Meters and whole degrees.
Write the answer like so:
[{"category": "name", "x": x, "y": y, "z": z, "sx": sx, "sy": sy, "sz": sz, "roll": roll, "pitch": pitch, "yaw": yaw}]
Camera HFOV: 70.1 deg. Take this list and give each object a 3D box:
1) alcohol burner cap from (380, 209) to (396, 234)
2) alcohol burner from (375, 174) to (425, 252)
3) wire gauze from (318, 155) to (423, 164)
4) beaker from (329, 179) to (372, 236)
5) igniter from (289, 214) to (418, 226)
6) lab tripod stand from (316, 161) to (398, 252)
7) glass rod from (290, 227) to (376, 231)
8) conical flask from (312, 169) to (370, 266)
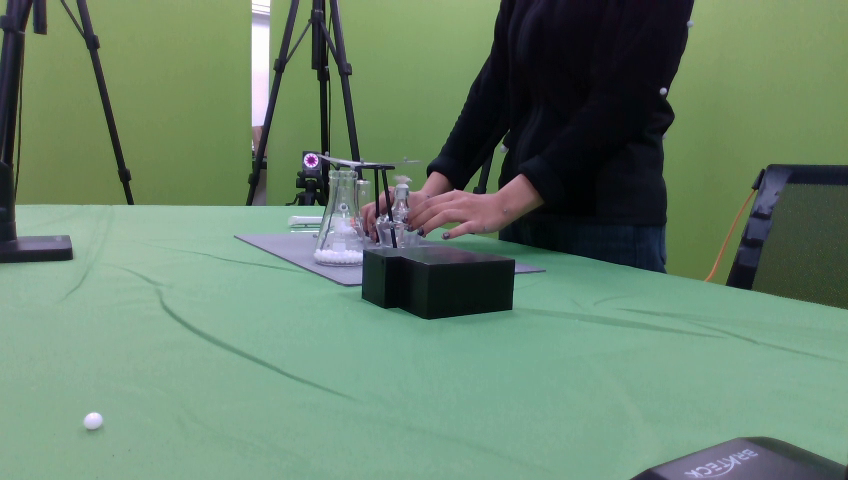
[{"category": "alcohol burner cap", "x": -0.069, "y": -0.036, "z": 1.154, "sx": 0.034, "sy": 0.048, "sz": 0.034, "roll": 2, "pitch": 7, "yaw": 0}, {"category": "alcohol burner", "x": -0.036, "y": -0.042, "z": 0.934, "sx": 0.078, "sy": 0.119, "sz": 0.078, "roll": 1, "pitch": 10, "yaw": 0}, {"category": "wire gauze", "x": -0.083, "y": -0.120, "z": 0.918, "sx": 0.122, "sy": 0.011, "sz": 0.124, "roll": -3, "pitch": 9, "yaw": -36}, {"category": "beaker", "x": -0.137, "y": -0.061, "z": 1.101, "sx": 0.084, "sy": 0.100, "sz": 0.074, "roll": 4, "pitch": 7, "yaw": 20}, {"category": "igniter", "x": -0.141, "y": -0.042, "z": 1.258, "sx": 0.278, "sy": 0.025, "sz": 0.057, "roll": -1, "pitch": -2, "yaw": -30}, {"category": "lab tripod stand", "x": -0.087, "y": -0.053, "z": 0.924, "sx": 0.148, "sy": 0.131, "sz": 0.148, "roll": 4, "pitch": 7, "yaw": 0}, {"category": "glass rod", "x": -0.161, "y": -0.022, "z": 1.177, "sx": 0.201, "sy": 0.008, "sz": 0.008, "roll": -2, "pitch": 8, "yaw": -28}, {"category": "conical flask", "x": -0.107, "y": -0.031, "z": 0.786, "sx": 0.075, "sy": 0.122, "sz": 0.075, "roll": 2, "pitch": 8, "yaw": 0}]
